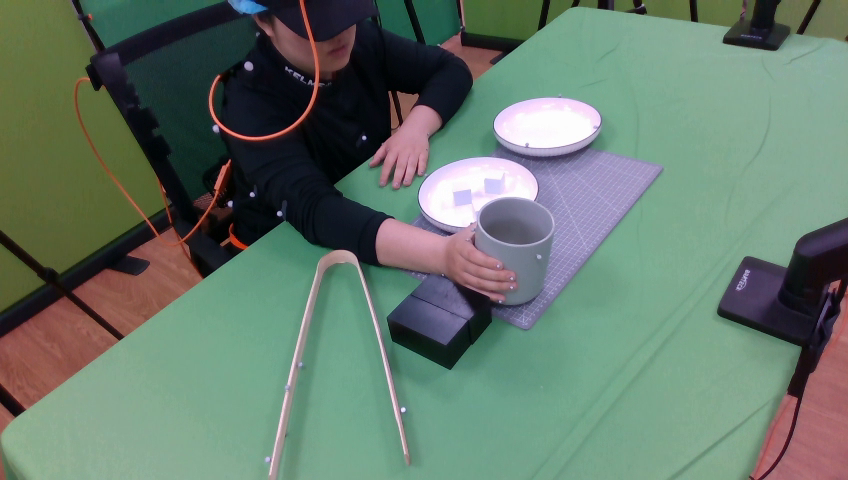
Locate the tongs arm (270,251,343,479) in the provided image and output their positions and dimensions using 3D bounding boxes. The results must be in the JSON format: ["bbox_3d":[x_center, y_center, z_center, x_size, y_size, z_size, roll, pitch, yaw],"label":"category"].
[{"bbox_3d":[-0.152,0.148,0.826,0.051,0.026,0.382,-6,39,3],"label":"tongs arm"}]

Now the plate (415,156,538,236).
[{"bbox_3d":[0.090,-0.072,1.034,0.207,0.039,0.206,-5,40,5],"label":"plate"}]

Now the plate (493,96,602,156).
[{"bbox_3d":[0.238,-0.218,1.180,0.209,0.038,0.208,-5,39,4],"label":"plate"}]

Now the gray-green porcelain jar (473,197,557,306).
[{"bbox_3d":[0.123,0.020,0.842,0.106,0.127,0.105,1,42,0],"label":"gray-green porcelain jar"}]

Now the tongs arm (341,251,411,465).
[{"bbox_3d":[-0.070,0.136,0.830,0.028,0.028,0.384,-18,40,-5],"label":"tongs arm"}]
